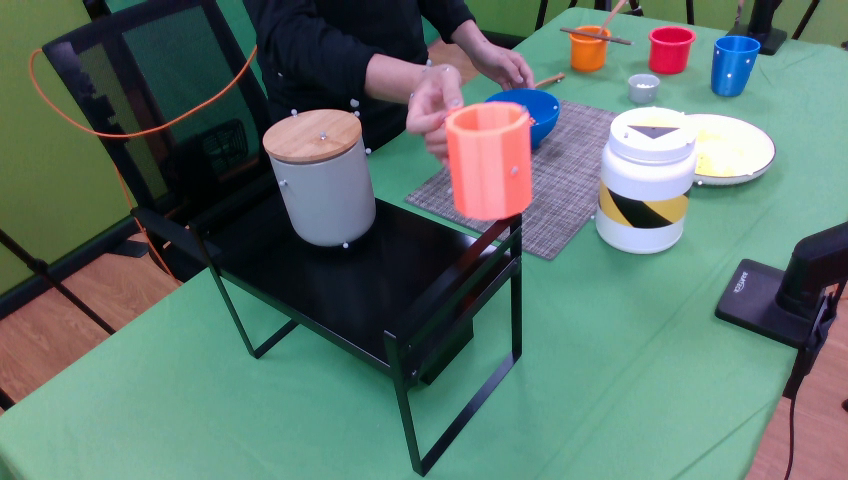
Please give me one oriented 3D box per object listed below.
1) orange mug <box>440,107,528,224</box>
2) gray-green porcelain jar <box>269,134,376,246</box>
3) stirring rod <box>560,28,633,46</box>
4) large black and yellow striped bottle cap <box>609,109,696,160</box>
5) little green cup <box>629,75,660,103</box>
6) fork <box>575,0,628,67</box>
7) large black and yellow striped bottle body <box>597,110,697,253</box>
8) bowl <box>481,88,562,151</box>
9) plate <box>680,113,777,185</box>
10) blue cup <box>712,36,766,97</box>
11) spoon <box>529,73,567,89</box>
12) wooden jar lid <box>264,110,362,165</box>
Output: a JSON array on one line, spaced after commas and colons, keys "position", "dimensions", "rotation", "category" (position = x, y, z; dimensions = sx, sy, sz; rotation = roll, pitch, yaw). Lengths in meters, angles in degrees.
[{"position": [0.056, -0.088, 0.652], "dimensions": [0.084, 0.101, 0.125], "rotation": [-22, 38, -19], "category": "orange mug"}, {"position": [-0.115, -0.064, 0.715], "dimensions": [0.106, 0.127, 0.105], "rotation": [-4, 40, 4], "category": "gray-green porcelain jar"}, {"position": [0.382, -0.453, 1.345], "dimensions": [0.174, 0.006, 0.014], "rotation": [26, 53, 34], "category": "stirring rod"}, {"position": [0.320, -0.150, 0.849], "dimensions": [0.115, 0.019, 0.114], "rotation": [-4, 39, 3], "category": "large black and yellow striped bottle cap"}, {"position": [0.458, -0.314, 1.260], "dimensions": [0.061, 0.039, 0.061], "rotation": [-4, 40, 4], "category": "little green cup"}, {"position": [0.413, -0.481, 1.377], "dimensions": [0.207, 0.019, 0.028], "rotation": [-56, 43, 12], "category": "fork"}, {"position": [0.331, -0.086, 0.904], "dimensions": [0.131, 0.185, 0.130], "rotation": [-5, 41, 4], "category": "large black and yellow striped bottle body"}, {"position": [0.187, -0.222, 1.161], "dimensions": [0.151, 0.077, 0.150], "rotation": [-5, 39, 4], "category": "bowl"}, {"position": [0.506, -0.158, 1.073], "dimensions": [0.209, 0.038, 0.208], "rotation": [-5, 40, 4], "category": "plate"}, {"position": [0.627, -0.350, 1.227], "dimensions": [0.092, 0.100, 0.092], "rotation": [-4, 39, 4], "category": "blue cup"}, {"position": [0.250, -0.337, 1.332], "dimensions": [0.194, 0.022, 0.041], "rotation": [-32, 31, -26], "category": "spoon"}, {"position": [-0.122, -0.112, 0.673], "dimensions": [0.108, 0.021, 0.108], "rotation": [-4, 37, 4], "category": "wooden jar lid"}]
